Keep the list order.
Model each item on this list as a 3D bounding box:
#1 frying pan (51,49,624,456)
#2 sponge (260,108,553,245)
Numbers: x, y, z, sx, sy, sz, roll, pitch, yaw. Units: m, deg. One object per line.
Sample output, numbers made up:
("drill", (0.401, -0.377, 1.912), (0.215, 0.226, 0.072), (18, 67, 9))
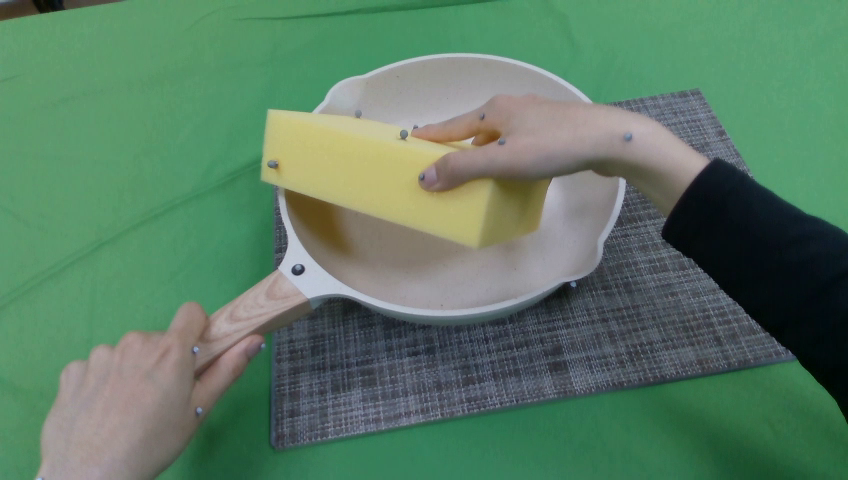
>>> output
("frying pan", (-0.055, 0.001, 0.491), (0.488, 0.103, 0.304), (-34, 58, -27))
("sponge", (-0.015, -0.058, 0.497), (0.205, 0.061, 0.118), (17, 16, 27))
